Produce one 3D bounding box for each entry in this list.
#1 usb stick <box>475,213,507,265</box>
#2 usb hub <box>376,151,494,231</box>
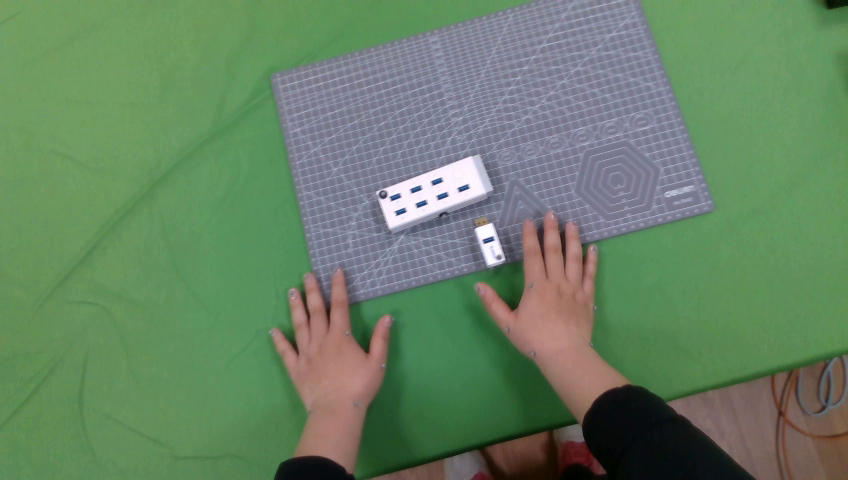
[{"bbox_3d":[0.071,-0.003,0.666,0.021,0.027,0.059,-21,75,7],"label":"usb stick"},{"bbox_3d":[0.012,-0.056,0.682,0.125,0.025,0.049,-20,78,2],"label":"usb hub"}]
